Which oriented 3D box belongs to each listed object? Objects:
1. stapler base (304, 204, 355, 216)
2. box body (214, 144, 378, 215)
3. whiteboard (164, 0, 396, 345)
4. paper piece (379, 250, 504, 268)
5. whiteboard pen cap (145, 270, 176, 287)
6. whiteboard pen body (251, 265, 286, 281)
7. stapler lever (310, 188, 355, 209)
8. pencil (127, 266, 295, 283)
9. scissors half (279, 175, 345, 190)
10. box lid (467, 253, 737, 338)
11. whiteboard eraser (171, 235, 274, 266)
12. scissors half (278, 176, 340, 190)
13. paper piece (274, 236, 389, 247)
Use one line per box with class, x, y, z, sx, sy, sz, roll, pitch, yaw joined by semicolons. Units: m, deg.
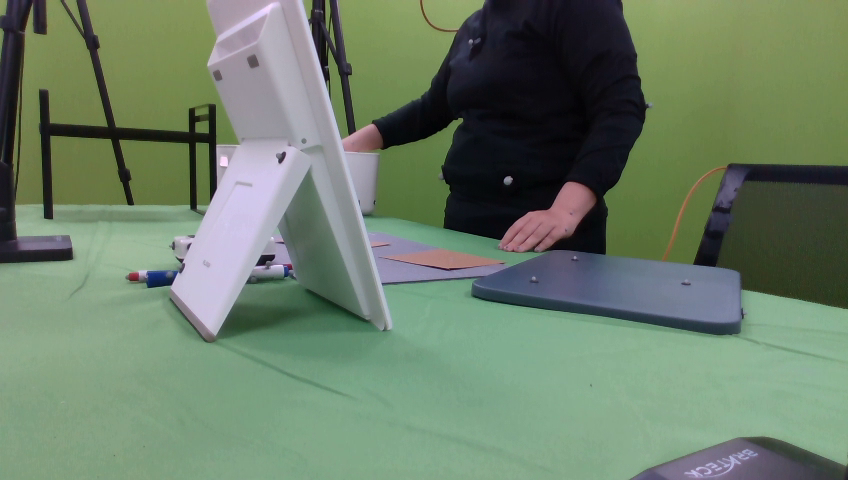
stapler base;-0.234;-0.080;1.510;0.131;0.024;0.041;7;14;-35
box body;-0.328;-0.154;1.543;0.366;0.160;0.253;-2;9;-32
whiteboard;-0.173;-0.053;0.511;0.144;0.305;0.216;-23;19;-26
paper piece;0.026;0.026;0.865;0.134;0.004;0.136;9;8;43
whiteboard pen cap;-0.271;0.039;0.627;0.033;0.018;0.018;-3;9;-33
whiteboard pen body;-0.220;0.039;0.656;0.141;0.017;0.017;-2;9;-31
stapler lever;-0.227;-0.104;1.507;0.119;0.040;0.026;6;14;-35
pencil;-0.231;0.037;0.691;0.195;0.012;0.012;-2;9;-34
scissors half;-0.283;-0.144;1.532;0.176;0.013;0.040;-15;3;-21
box lid;0.234;0.055;0.736;0.262;0.015;0.373;7;8;26
whiteboard eraser;-0.248;0.014;0.747;0.113;0.042;0.055;-1;9;-32
scissors half;-0.293;-0.142;1.550;0.176;0.013;0.040;-15;-3;-39
paper piece;-0.151;0.003;0.978;0.135;0.008;0.139;13;10;35
